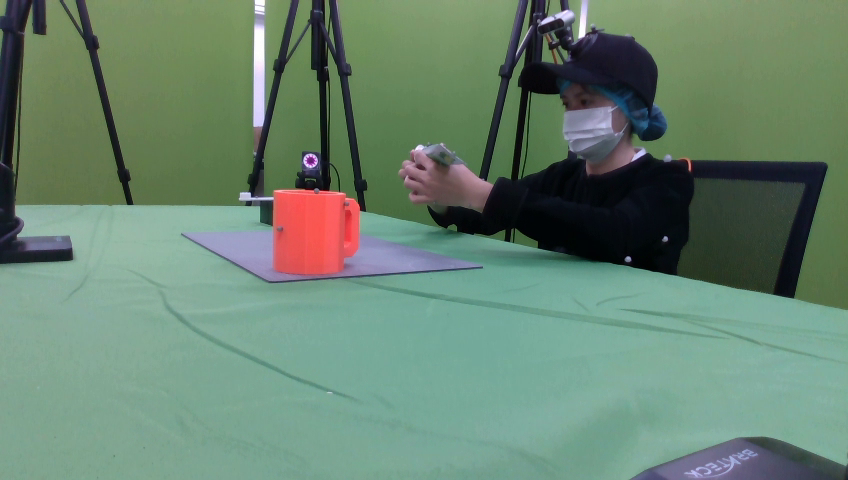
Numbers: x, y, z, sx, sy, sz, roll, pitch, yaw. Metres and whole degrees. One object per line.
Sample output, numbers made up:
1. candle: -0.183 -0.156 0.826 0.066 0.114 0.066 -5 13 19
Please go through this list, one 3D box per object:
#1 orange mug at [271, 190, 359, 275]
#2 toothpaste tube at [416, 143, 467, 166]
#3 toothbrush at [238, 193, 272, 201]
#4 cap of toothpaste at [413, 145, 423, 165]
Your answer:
1. orange mug: -0.131 -0.013 0.754 0.083 0.101 0.127 8 13 38
2. toothpaste tube: 0.021 -0.139 0.976 0.055 0.034 0.164 29 -2 -17
3. toothbrush: -0.286 -0.087 1.236 0.183 0.016 0.014 -1 4 -30
4. cap of toothpaste: -0.006 -0.149 1.059 0.011 0.037 0.037 10 10 30
